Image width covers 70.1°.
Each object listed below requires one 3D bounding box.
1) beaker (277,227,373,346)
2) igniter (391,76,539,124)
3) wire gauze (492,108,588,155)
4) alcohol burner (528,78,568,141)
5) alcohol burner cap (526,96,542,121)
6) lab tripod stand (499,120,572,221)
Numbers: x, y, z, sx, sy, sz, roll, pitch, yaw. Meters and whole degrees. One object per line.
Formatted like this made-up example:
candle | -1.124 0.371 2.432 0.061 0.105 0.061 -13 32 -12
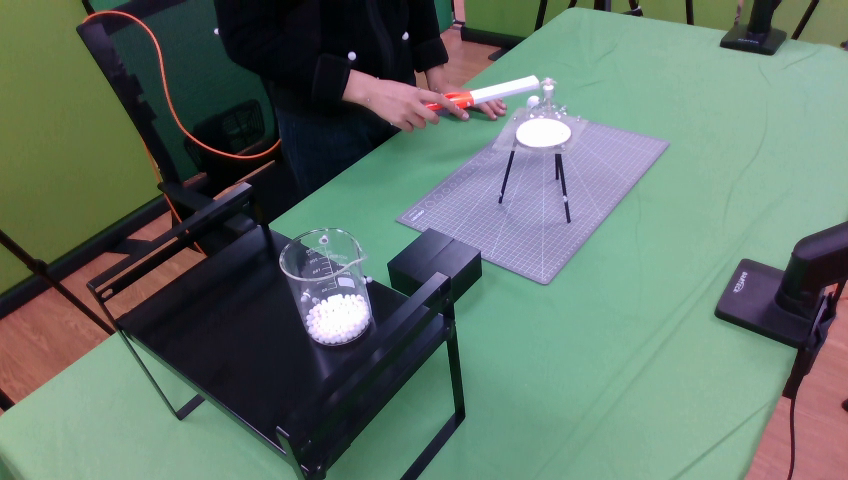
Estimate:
beaker | -0.089 0.048 0.593 0.084 0.101 0.073 -3 41 5
igniter | 0.076 -0.259 1.115 0.277 0.025 0.057 -15 43 -6
wire gauze | 0.185 -0.170 0.953 0.121 0.011 0.125 13 44 22
alcohol burner | 0.238 -0.253 1.163 0.078 0.119 0.077 -6 40 6
alcohol burner cap | 0.225 -0.272 1.243 0.034 0.048 0.033 -5 40 5
lab tripod stand | 0.198 -0.117 0.992 0.148 0.132 0.147 -3 40 3
